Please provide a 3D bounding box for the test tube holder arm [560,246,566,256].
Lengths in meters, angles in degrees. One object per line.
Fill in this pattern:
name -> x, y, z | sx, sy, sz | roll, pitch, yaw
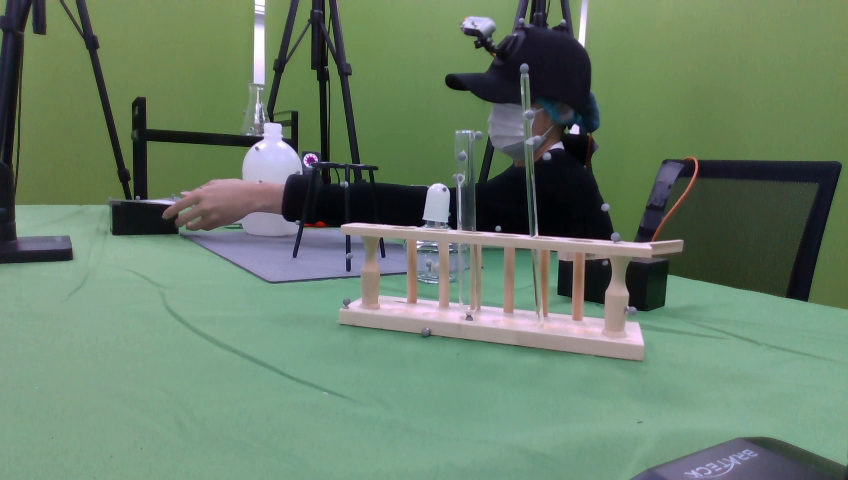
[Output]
test tube holder arm -> 0.173, 0.007, 0.611 | 0.088, 0.015, 0.010 | -3, 9, -29

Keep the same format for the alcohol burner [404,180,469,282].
alcohol burner -> 0.015, -0.011, 0.715 | 0.078, 0.119, 0.078 | 0, 7, 0

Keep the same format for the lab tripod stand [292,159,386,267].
lab tripod stand -> -0.105, -0.039, 0.797 | 0.148, 0.131, 0.148 | 2, 5, 0

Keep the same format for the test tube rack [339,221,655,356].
test tube rack -> 0.056, 0.032, 0.495 | 0.242, 0.085, 0.067 | 4, 7, 15

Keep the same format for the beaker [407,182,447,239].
beaker -> 0.009, -0.054, 1.105 | 0.074, 0.100, 0.083 | -6, 11, -43

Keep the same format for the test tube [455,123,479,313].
test tube -> 0.034, -0.016, 0.476 | 0.017, 0.150, 0.017 | -2, 10, 1

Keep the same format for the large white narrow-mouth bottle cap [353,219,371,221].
large white narrow-mouth bottle cap -> -0.121, -0.029, 1.184 | 0.038, 0.024, 0.037 | 2, 8, 0

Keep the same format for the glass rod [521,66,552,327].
glass rod -> 0.085, -0.028, 0.454 | 0.008, 0.199, 0.008 | -7, 10, 2

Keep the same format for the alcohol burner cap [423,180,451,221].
alcohol burner cap -> 0.017, -0.047, 0.711 | 0.034, 0.048, 0.034 | 8, 5, 0

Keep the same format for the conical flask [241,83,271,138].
conical flask -> -0.384, -0.297, 1.393 | 0.075, 0.122, 0.075 | 2, 7, 0

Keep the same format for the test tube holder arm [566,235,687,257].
test tube holder arm -> 0.215, 0.006, 0.629 | 0.179, 0.015, 0.013 | -3, 9, -30

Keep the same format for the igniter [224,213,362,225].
igniter -> -0.255, -0.041, 1.209 | 0.278, 0.025, 0.057 | -2, -3, -32

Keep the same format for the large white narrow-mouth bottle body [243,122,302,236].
large white narrow-mouth bottle body -> -0.265, -0.109, 1.061 | 0.102, 0.194, 0.102 | 2, 8, 0

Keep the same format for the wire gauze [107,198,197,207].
wire gauze -> -0.462, -0.064, 1.023 | 0.126, 0.011, 0.121 | -2, 7, -32
